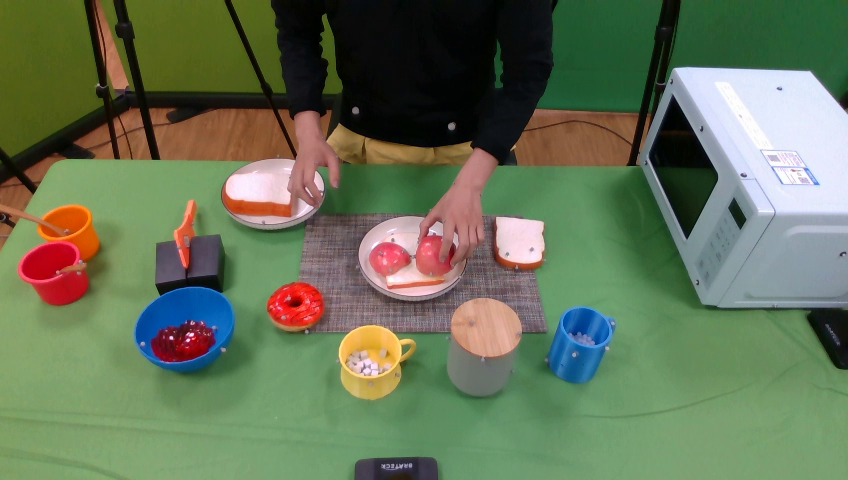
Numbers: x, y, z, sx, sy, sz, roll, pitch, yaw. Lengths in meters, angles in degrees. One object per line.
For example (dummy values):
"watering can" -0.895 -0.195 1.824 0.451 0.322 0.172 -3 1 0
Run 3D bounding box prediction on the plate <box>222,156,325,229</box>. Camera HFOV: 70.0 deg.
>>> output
"plate" -0.308 -0.095 1.251 0.209 0.038 0.208 2 47 -2

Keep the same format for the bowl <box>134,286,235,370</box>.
"bowl" -0.377 0.155 0.981 0.151 0.077 0.150 2 46 -2

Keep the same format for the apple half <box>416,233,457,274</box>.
"apple half" 0.023 0.018 1.102 0.074 0.053 0.080 10 41 9

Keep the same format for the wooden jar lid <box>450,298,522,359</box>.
"wooden jar lid" 0.093 0.135 0.914 0.108 0.021 0.107 2 48 -3

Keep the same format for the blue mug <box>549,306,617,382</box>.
"blue mug" 0.269 0.166 0.997 0.116 0.106 0.082 -19 51 -21

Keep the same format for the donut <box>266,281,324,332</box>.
"donut" -0.222 0.115 1.049 0.099 0.048 0.098 2 45 -2

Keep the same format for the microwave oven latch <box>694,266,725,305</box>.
"microwave oven latch" 0.523 0.082 1.115 0.030 0.029 0.078 3 46 0

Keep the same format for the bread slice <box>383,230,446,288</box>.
"bread slice" -0.028 0.034 1.144 0.107 0.018 0.133 -8 48 -12

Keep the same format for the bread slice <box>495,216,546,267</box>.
"bread slice" 0.194 0.002 1.205 0.105 0.019 0.131 6 45 2

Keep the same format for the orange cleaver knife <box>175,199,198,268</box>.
"orange cleaver knife" -0.438 -0.017 1.138 0.012 0.077 0.210 -14 27 -7

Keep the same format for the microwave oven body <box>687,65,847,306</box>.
"microwave oven body" 0.669 -0.111 1.176 0.326 0.261 0.439 0 46 -3

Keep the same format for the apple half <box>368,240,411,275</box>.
"apple half" -0.067 0.024 1.120 0.081 0.033 0.081 1 48 -1

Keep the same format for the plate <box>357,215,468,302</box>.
"plate" -0.022 0.037 1.141 0.208 0.039 0.206 2 46 -2

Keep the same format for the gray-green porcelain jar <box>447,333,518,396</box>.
"gray-green porcelain jar" 0.091 0.178 0.960 0.106 0.127 0.105 2 46 -2

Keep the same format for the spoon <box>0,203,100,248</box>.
"spoon" -0.683 -0.031 1.088 0.195 0.021 0.041 33 33 -38

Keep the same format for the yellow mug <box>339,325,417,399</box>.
"yellow mug" -0.072 0.190 0.978 0.131 0.064 0.099 -17 50 -20

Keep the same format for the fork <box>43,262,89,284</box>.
"fork" -0.599 0.053 1.013 0.207 0.019 0.028 -14 30 45

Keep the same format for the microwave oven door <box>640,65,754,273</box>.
"microwave oven door" 0.522 -0.147 1.193 0.039 0.245 0.353 0 47 -3
